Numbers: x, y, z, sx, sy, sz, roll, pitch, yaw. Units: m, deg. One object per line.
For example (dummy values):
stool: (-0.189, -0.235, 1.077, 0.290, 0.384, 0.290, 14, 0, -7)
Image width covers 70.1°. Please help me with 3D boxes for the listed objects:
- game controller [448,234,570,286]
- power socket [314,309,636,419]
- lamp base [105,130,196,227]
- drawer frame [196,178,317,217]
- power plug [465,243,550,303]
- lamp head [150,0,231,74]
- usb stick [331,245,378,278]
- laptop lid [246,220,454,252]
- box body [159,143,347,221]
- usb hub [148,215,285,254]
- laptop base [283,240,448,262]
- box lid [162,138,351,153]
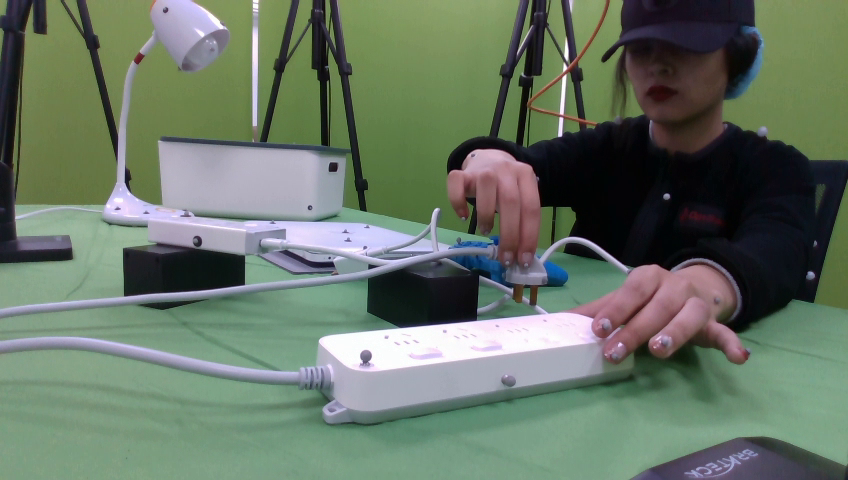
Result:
game controller: (0.099, 0.022, 0.756, 0.097, 0.051, 0.154, -7, 10, -29)
power socket: (0.039, 0.072, 0.385, 0.228, 0.032, 0.072, -2, 7, -28)
lamp base: (-0.532, -0.120, 1.153, 0.179, 0.180, 0.161, 1, 7, 8)
drawer frame: (-0.376, -0.101, 1.393, 0.213, 0.082, 0.202, 1, 8, 6)
power plug: (0.073, 0.028, 0.529, 0.072, 0.052, 0.035, 1, 4, 9)
lamp head: (-0.432, -0.374, 1.086, 0.123, 0.112, 0.112, 42, 8, -2)
usb stick: (-0.085, 0.026, 0.701, 0.059, 0.027, 0.021, -18, 17, 27)
laptop lid: (-0.123, -0.009, 0.945, 0.243, 0.013, 0.355, 1, 7, -29)
box body: (-0.384, -0.137, 1.406, 0.364, 0.160, 0.254, 3, 8, 7)
usb hub: (-0.196, -0.006, 0.573, 0.125, 0.025, 0.050, 7, 7, 23)
laptop base: (-0.125, 0.003, 0.945, 0.237, 0.023, 0.352, 2, 6, -31)
box lid: (-0.371, -0.215, 1.394, 0.371, 0.015, 0.263, 4, 8, 7)
